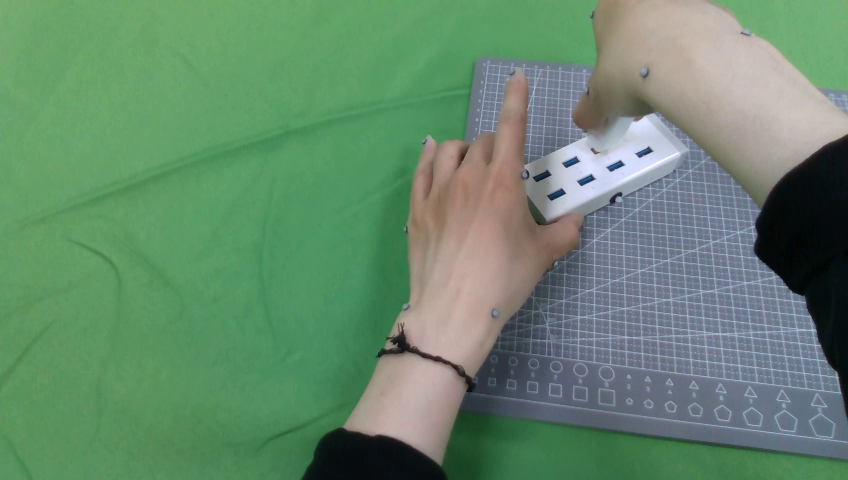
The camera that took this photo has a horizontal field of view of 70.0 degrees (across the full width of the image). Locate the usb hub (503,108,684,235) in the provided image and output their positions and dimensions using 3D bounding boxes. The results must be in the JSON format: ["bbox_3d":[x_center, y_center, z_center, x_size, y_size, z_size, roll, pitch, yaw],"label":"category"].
[{"bbox_3d":[0.123,-0.052,0.441,0.125,0.025,0.049,-25,63,-14],"label":"usb hub"}]

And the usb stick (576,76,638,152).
[{"bbox_3d":[0.123,-0.082,0.418,0.021,0.059,0.027,-26,66,-15],"label":"usb stick"}]
